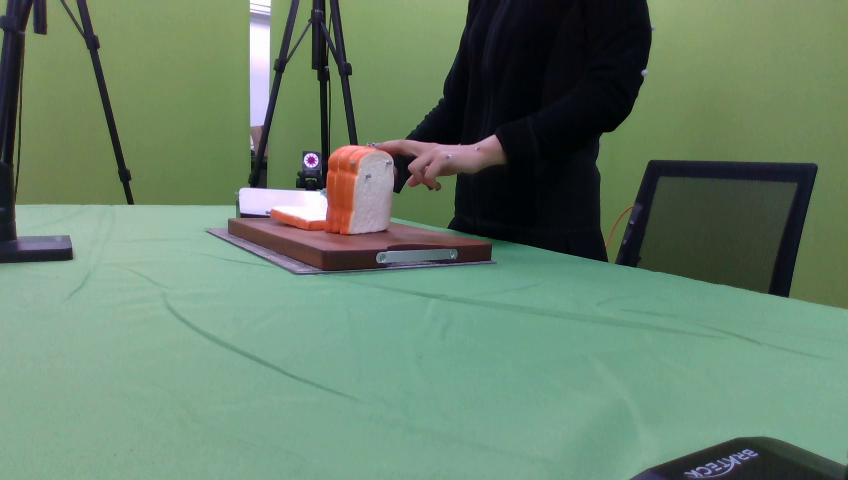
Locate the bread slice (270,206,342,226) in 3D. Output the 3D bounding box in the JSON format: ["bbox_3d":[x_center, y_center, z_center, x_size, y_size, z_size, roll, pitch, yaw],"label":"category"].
[{"bbox_3d":[-0.188,-0.040,1.002,0.133,0.018,0.107,12,9,44],"label":"bread slice"}]

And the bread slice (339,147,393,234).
[{"bbox_3d":[-0.084,-0.074,0.916,0.019,0.131,0.105,15,14,31],"label":"bread slice"}]

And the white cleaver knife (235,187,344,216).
[{"bbox_3d":[-0.197,-0.067,1.104,0.288,0.065,0.021,-3,-27,-29],"label":"white cleaver knife"}]
